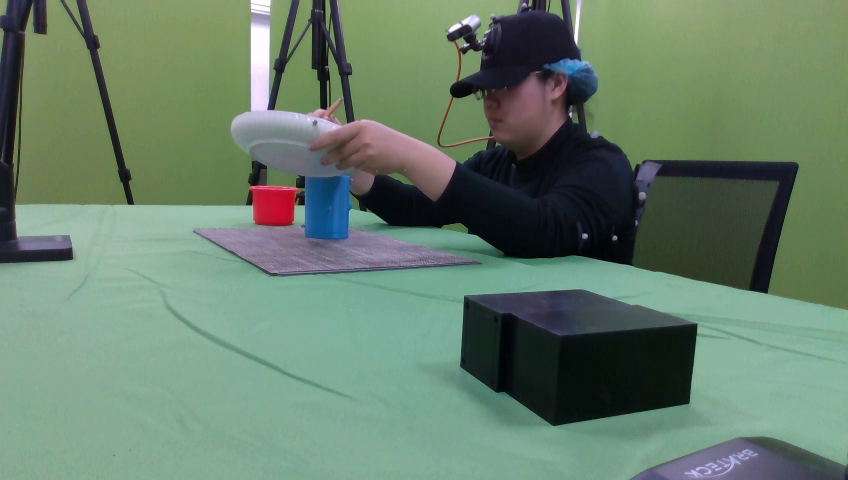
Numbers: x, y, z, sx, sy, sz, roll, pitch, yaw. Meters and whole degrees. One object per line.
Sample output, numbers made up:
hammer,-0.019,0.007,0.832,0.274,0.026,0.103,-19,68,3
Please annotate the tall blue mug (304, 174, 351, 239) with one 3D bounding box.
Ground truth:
tall blue mug,-0.179,-0.062,1.062,0.078,0.108,0.106,-5,11,-38

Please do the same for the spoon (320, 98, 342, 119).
spoon,-0.199,-0.197,1.056,0.194,0.021,0.041,-48,-1,-39

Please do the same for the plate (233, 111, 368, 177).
plate,-0.192,-0.139,0.939,0.208,0.039,0.208,6,-12,2
